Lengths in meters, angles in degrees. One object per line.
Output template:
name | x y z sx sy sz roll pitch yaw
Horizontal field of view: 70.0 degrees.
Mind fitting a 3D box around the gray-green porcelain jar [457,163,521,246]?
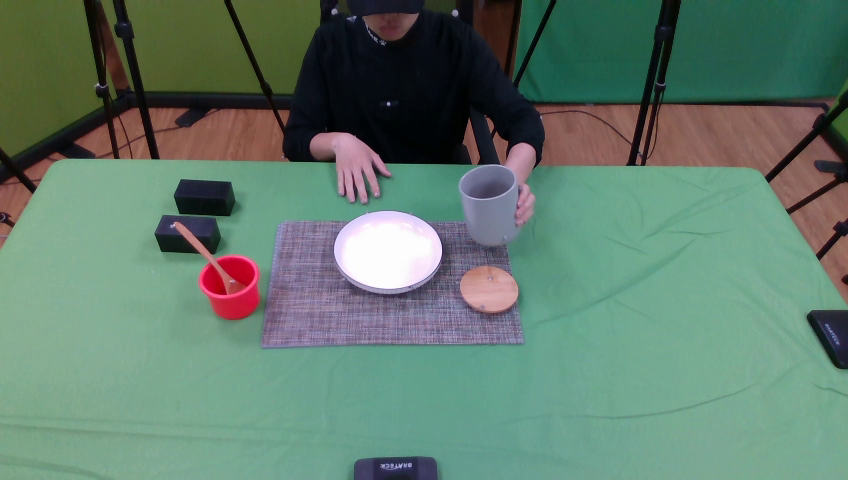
gray-green porcelain jar | 0.123 -0.060 1.117 0.106 0.127 0.105 -9 42 8

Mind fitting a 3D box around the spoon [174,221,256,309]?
spoon | -0.360 0.043 1.043 0.194 0.021 0.041 54 51 -14

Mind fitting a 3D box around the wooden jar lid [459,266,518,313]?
wooden jar lid | 0.118 0.093 1.111 0.108 0.021 0.107 1 47 -1

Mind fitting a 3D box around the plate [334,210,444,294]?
plate | -0.066 0.026 1.150 0.208 0.039 0.206 2 46 -2
